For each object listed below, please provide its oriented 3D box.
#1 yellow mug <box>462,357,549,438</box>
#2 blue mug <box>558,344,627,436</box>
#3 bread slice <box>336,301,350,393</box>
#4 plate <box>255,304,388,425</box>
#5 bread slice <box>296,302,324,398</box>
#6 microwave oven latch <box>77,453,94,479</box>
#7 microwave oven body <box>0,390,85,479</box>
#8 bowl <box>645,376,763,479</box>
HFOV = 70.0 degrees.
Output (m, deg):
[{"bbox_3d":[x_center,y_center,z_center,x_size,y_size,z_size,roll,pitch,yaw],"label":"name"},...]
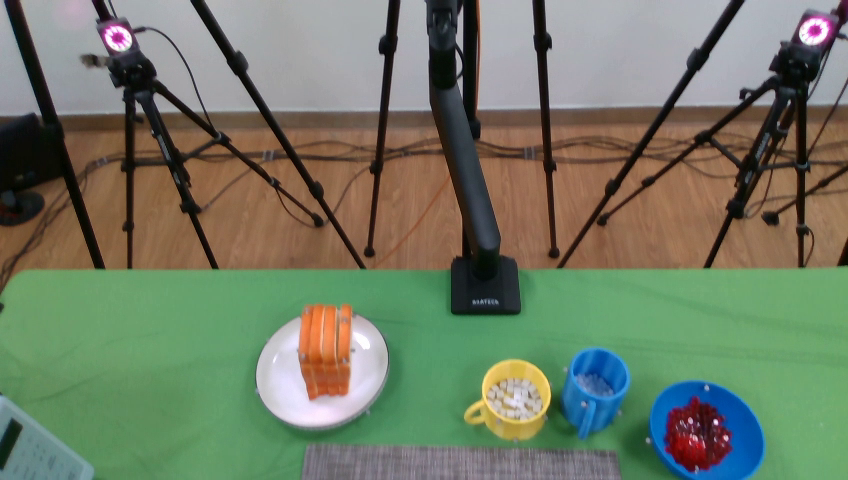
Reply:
[{"bbox_3d":[0.117,0.238,0.895,0.131,0.064,0.099,-18,52,-11],"label":"yellow mug"},{"bbox_3d":[0.238,0.226,0.875,0.082,0.107,0.116,16,53,15],"label":"blue mug"},{"bbox_3d":[-0.122,0.158,0.917,0.019,0.132,0.104,2,52,-6],"label":"bread slice"},{"bbox_3d":[-0.159,0.196,0.957,0.208,0.039,0.205,-1,51,1],"label":"plate"},{"bbox_3d":[-0.172,0.158,0.918,0.018,0.135,0.106,-1,47,-1],"label":"bread slice"},{"bbox_3d":[-0.483,0.335,0.829,0.030,0.030,0.078,4,51,4],"label":"microwave oven latch"},{"bbox_3d":[-0.640,0.408,0.649,0.326,0.262,0.437,1,51,2],"label":"microwave oven body"},{"bbox_3d":[0.379,0.276,0.846,0.151,0.077,0.150,-1,51,2],"label":"bowl"}]
